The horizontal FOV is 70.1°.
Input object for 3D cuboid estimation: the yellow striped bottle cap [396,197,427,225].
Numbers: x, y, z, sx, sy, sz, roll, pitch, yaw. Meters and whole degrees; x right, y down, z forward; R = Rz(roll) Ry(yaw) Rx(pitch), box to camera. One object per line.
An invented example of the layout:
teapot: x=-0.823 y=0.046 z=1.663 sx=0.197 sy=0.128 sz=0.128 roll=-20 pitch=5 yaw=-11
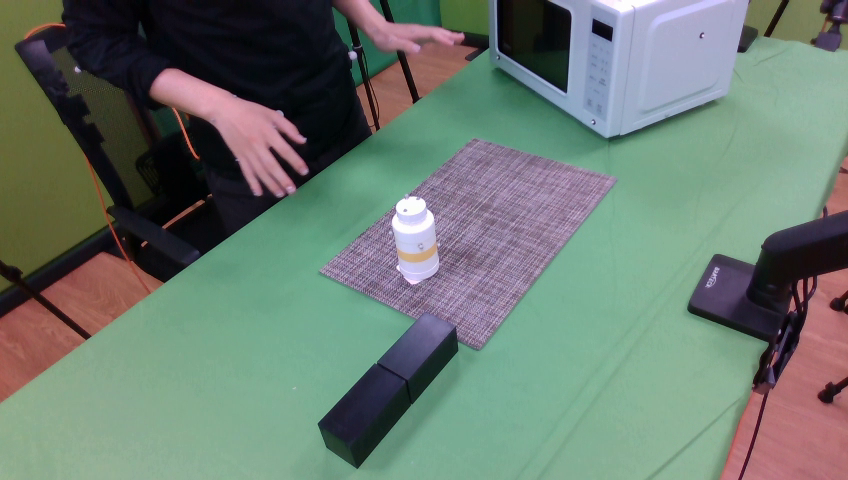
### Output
yellow striped bottle cap: x=-0.018 y=-0.042 z=0.858 sx=0.044 sy=0.019 sz=0.044 roll=-5 pitch=38 yaw=4

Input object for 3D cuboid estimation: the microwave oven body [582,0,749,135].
microwave oven body: x=0.382 y=-0.444 z=1.246 sx=0.327 sy=0.261 sz=0.437 roll=-22 pitch=42 yaw=-16

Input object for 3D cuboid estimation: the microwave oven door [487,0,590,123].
microwave oven door: x=0.231 y=-0.420 z=1.230 sx=0.039 sy=0.245 sz=0.352 roll=-22 pitch=43 yaw=-16

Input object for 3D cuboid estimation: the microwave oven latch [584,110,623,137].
microwave oven latch: x=0.337 y=-0.222 z=1.142 sx=0.030 sy=0.029 sz=0.078 roll=-21 pitch=42 yaw=-15

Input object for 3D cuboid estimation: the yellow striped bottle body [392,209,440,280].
yellow striped bottle body: x=-0.013 y=-0.003 z=0.892 sx=0.063 sy=0.121 sz=0.062 roll=-4 pitch=41 yaw=4
